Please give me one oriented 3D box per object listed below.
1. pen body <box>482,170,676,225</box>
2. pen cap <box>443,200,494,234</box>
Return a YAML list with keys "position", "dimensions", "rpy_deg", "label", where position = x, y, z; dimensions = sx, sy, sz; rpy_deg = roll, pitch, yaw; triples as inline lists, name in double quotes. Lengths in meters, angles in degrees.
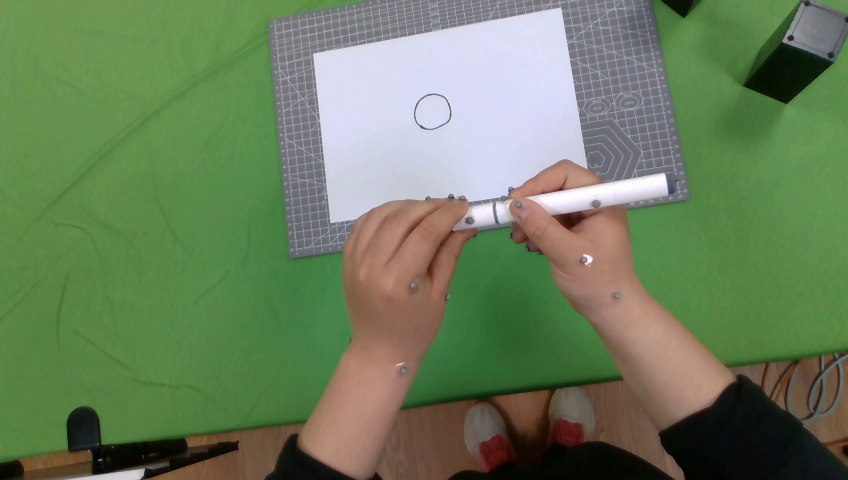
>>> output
- position: [0.092, -0.025, 0.407]
  dimensions: [0.144, 0.017, 0.017]
  rpy_deg: [-10, 80, 18]
  label: "pen body"
- position: [0.033, -0.015, 0.427]
  dimensions: [0.038, 0.017, 0.017]
  rpy_deg: [-16, 80, 6]
  label: "pen cap"
